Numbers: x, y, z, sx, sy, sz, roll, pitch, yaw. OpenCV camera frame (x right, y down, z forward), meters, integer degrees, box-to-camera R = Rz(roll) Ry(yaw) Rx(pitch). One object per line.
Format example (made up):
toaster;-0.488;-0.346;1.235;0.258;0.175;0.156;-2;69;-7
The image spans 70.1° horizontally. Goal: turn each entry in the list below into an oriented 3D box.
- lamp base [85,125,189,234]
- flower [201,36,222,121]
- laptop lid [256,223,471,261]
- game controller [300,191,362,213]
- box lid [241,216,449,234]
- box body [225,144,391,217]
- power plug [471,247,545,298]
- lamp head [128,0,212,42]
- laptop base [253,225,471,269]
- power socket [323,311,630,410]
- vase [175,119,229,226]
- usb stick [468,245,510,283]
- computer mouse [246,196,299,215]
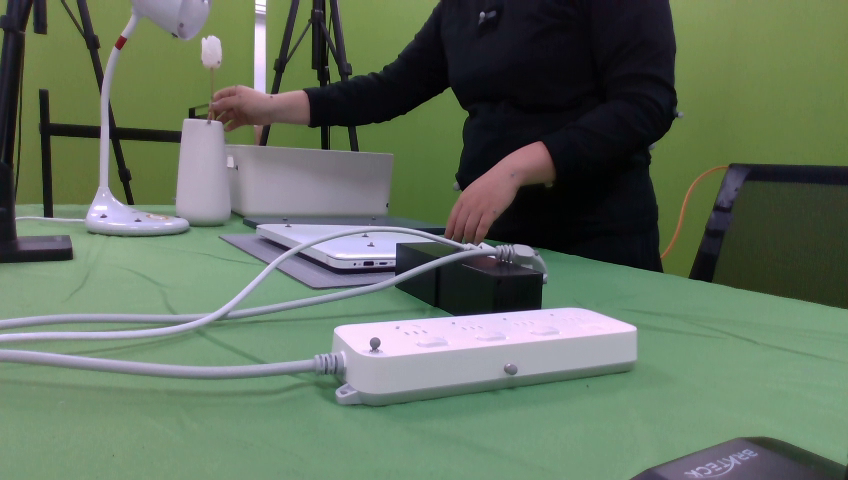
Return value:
lamp base;-0.498;-0.105;1.026;0.179;0.180;0.160;1;7;3
flower;-0.408;-0.213;1.167;0.038;0.361;0.044;0;-3;-26
laptop lid;-0.093;0.000;0.911;0.243;0.013;0.355;1;7;-30
game controller;-0.241;-0.098;1.550;0.155;0.051;0.097;2;9;5
box lid;-0.163;-0.030;1.233;0.373;0.015;0.262;-2;8;-32
box body;-0.290;-0.143;1.474;0.366;0.160;0.253;-1;9;-29
power plug;0.080;0.030;0.584;0.072;0.052;0.035;12;29;9
lamp head;-0.424;-0.394;0.980;0.123;0.112;0.112;21;7;-3
laptop base;-0.096;0.011;0.911;0.237;0.023;0.352;3;6;-32
power socket;0.041;0.075;0.410;0.228;0.032;0.072;-1;7;-26
vase;-0.425;-0.128;1.158;0.098;0.200;0.098;2;9;0
usb stick;0.079;0.029;0.673;0.059;0.021;0.027;29;24;-29
computer mouse;-0.355;-0.082;1.417;0.117;0.041;0.063;1;9;7
